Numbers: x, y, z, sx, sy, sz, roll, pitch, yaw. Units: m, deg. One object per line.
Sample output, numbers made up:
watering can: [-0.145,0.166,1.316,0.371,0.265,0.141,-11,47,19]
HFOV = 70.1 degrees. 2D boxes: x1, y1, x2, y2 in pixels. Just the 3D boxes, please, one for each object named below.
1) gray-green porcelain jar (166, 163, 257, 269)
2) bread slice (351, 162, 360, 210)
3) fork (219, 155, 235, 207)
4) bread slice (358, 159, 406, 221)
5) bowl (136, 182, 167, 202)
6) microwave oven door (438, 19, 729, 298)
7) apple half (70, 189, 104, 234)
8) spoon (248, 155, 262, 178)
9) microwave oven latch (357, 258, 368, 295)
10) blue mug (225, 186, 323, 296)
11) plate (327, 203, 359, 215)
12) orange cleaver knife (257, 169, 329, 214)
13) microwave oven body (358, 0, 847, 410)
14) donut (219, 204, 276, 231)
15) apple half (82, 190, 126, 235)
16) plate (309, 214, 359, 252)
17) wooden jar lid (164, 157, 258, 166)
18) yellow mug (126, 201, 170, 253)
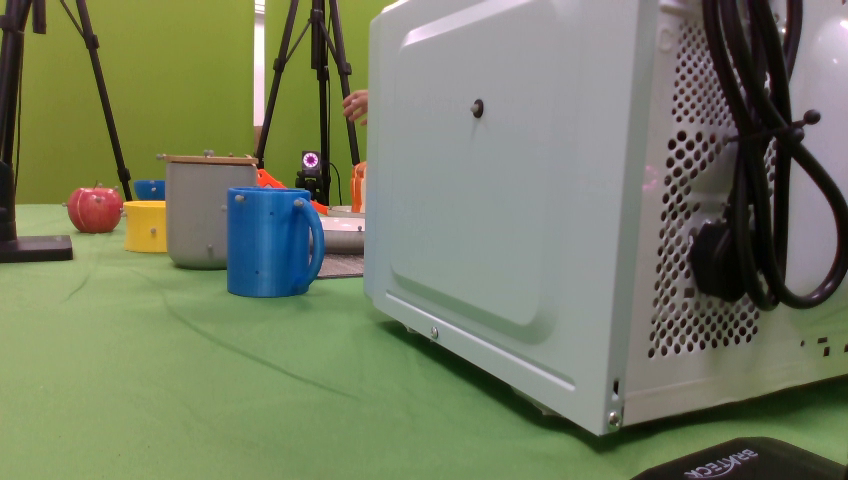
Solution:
gray-green porcelain jar: [-0.263,-0.031,0.754,0.106,0.126,0.106,2,7,0]
bread slice: [-0.106,-0.112,1.328,0.107,0.134,0.018,0,-3,-26]
fork: [-0.459,-0.134,1.415,0.028,0.018,0.207,-1,-34,-24]
bread slice: [-0.089,-0.106,1.278,0.105,0.131,0.019,-1,0,-24]
bowl: [-0.497,-0.076,1.221,0.151,0.077,0.151,2,8,0]
microwave oven door: [0.181,-0.076,0.618,0.358,0.243,0.039,-2,8,-28]
apple half: [-0.552,-0.048,1.010,0.053,0.074,0.081,-1,9,26]
spoon: [-0.417,-0.150,1.543,0.042,0.193,0.021,-5,-34,-33]
microwave oven latch: [-0.019,0.031,0.529,0.079,0.029,0.030,-1,7,-27]
blue mug: [-0.148,0.000,0.618,0.116,0.106,0.083,7,9,33]
plate: [-0.102,-0.053,1.299,0.209,0.038,0.209,2,7,0]
orange cleaver knife: [-0.285,-0.082,1.301,0.212,0.077,0.012,25,-4,-31]
microwave oven body: [0.210,-0.051,0.471,0.444,0.260,0.324,-1,7,-28]
donut: [-0.316,-0.039,1.083,0.099,0.048,0.099,2,6,0]
apple half: [-0.516,-0.046,0.994,0.032,0.081,0.081,0,6,26]
plate: [-0.130,-0.011,0.945,0.208,0.039,0.207,2,8,0]
wooden jar lid: [-0.261,-0.093,0.746,0.108,0.020,0.108,0,9,0]
yellow mug: [-0.361,-0.019,0.866,0.130,0.064,0.100,6,9,27]
